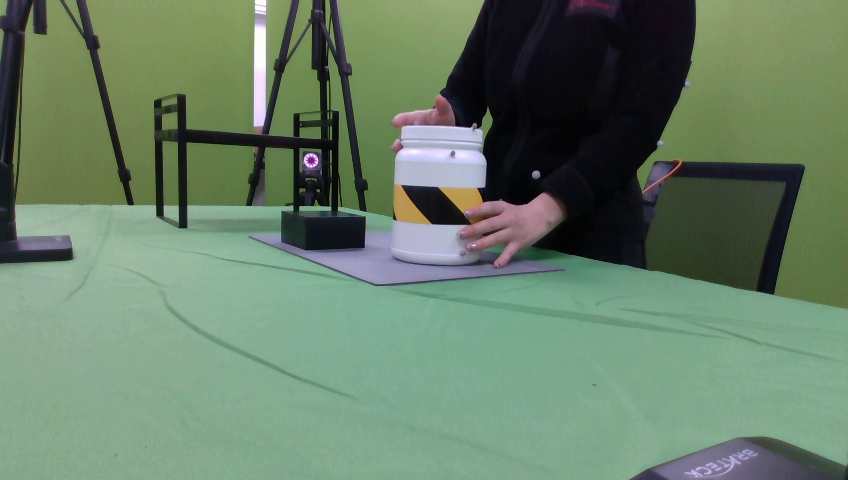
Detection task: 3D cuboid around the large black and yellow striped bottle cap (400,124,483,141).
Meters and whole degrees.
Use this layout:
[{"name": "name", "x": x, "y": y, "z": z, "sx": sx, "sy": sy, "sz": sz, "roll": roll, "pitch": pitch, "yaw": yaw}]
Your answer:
[{"name": "large black and yellow striped bottle cap", "x": 0.024, "y": -0.148, "z": 0.841, "sx": 0.115, "sy": 0.019, "sz": 0.115, "roll": 3, "pitch": 6, "yaw": 0}]

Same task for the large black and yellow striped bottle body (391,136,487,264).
[{"name": "large black and yellow striped bottle body", "x": 0.022, "y": -0.065, "z": 0.852, "sx": 0.131, "sy": 0.184, "sz": 0.130, "roll": 2, "pitch": 7, "yaw": 0}]
